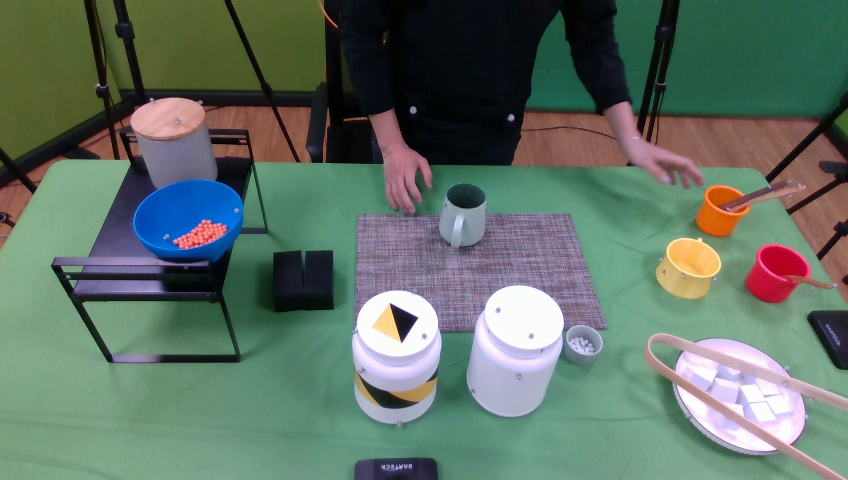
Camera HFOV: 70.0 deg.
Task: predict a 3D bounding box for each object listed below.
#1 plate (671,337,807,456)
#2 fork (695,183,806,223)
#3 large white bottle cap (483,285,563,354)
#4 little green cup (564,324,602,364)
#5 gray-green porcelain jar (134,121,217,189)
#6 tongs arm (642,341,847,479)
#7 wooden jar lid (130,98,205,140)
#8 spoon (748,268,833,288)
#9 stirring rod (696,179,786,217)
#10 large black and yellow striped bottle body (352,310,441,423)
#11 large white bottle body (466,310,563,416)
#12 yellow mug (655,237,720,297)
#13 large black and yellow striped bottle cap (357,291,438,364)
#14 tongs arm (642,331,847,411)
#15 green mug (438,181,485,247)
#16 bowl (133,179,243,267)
[{"bbox_3d":[0.503,0.254,0.984,0.208,0.039,0.206,2,46,-2],"label":"plate"},{"bbox_3d":[0.657,-0.075,1.229,0.207,0.019,0.028,-24,36,36],"label":"fork"},{"bbox_3d":[0.142,0.112,0.871,0.115,0.018,0.114,3,46,-2],"label":"large white bottle cap"},{"bbox_3d":[0.269,0.179,1.035,0.061,0.039,0.061,2,45,-2],"label":"little green cup"},{"bbox_3d":[-0.397,-0.141,0.980,0.106,0.127,0.105,2,47,-2],"label":"gray-green porcelain jar"},{"bbox_3d":[0.504,0.278,0.917,0.386,0.028,0.028,34,58,22],"label":"tongs arm"},{"bbox_3d":[-0.393,-0.183,0.934,0.108,0.021,0.107,2,44,-2],"label":"wooden jar lid"},{"bbox_3d":[0.660,0.068,1.097,0.041,0.193,0.021,-3,91,-6],"label":"spoon"},{"bbox_3d":[0.648,-0.086,1.243,0.176,0.006,0.014,-25,48,29],"label":"stirring rod"},{"bbox_3d":[-0.042,0.177,0.913,0.131,0.185,0.130,2,47,-2],"label":"large black and yellow striped bottle body"},{"bbox_3d":[0.138,0.171,0.932,0.131,0.185,0.130,2,46,-2],"label":"large white bottle body"},{"bbox_3d":[0.509,0.041,1.167,0.099,0.064,0.130,24,48,18],"label":"yellow mug"},{"bbox_3d":[-0.037,0.121,0.851,0.115,0.019,0.114,2,46,-1],"label":"large black and yellow striped bottle cap"},{"bbox_3d":[0.546,0.227,0.968,0.384,0.026,0.050,22,52,13],"label":"tongs arm"},{"bbox_3d":[0.071,-0.039,1.177,0.092,0.105,0.124,12,47,7],"label":"green mug"},{"bbox_3d":[-0.339,-0.013,0.895,0.151,0.077,0.150,2,46,-2],"label":"bowl"}]
